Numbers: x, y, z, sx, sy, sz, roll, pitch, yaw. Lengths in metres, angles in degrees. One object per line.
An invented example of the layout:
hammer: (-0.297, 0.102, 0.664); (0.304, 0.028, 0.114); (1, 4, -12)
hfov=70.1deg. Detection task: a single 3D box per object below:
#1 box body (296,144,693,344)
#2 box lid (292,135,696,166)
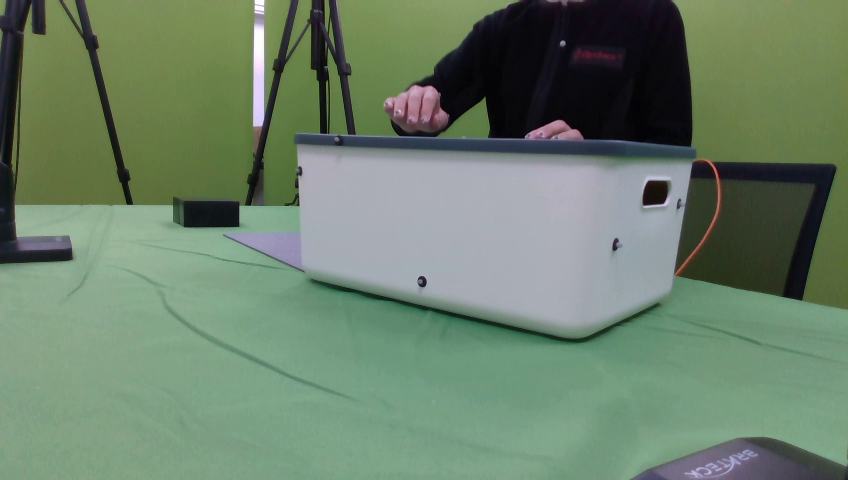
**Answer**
box body: (0.065, -0.020, 0.653); (0.362, 0.160, 0.255); (9, 9, 36)
box lid: (0.068, -0.094, 0.645); (0.369, 0.015, 0.265); (8, 9, 37)
